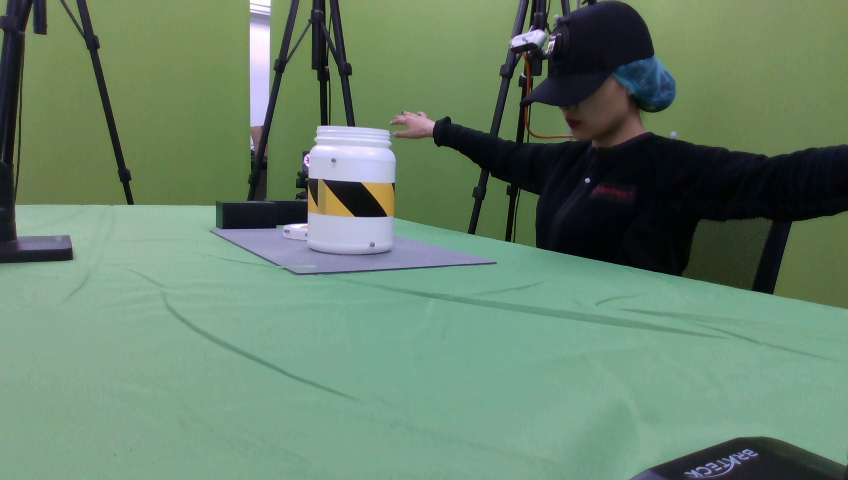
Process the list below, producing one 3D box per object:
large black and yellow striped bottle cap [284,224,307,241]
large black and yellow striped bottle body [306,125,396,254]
[{"bbox_3d":[-0.186,-0.014,1.055,0.115,0.019,0.115,1,8,0],"label":"large black and yellow striped bottle cap"},{"bbox_3d":[-0.109,-0.077,0.913,0.131,0.184,0.130,3,8,0],"label":"large black and yellow striped bottle body"}]
